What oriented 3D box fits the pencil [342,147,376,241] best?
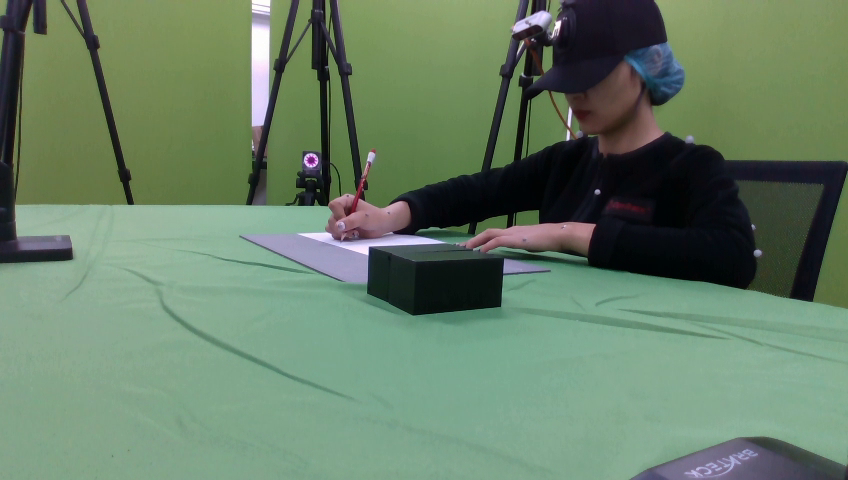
[{"bbox_3d":[-0.111,-0.080,1.025,0.012,0.194,0.012,11,-28,7],"label":"pencil"}]
